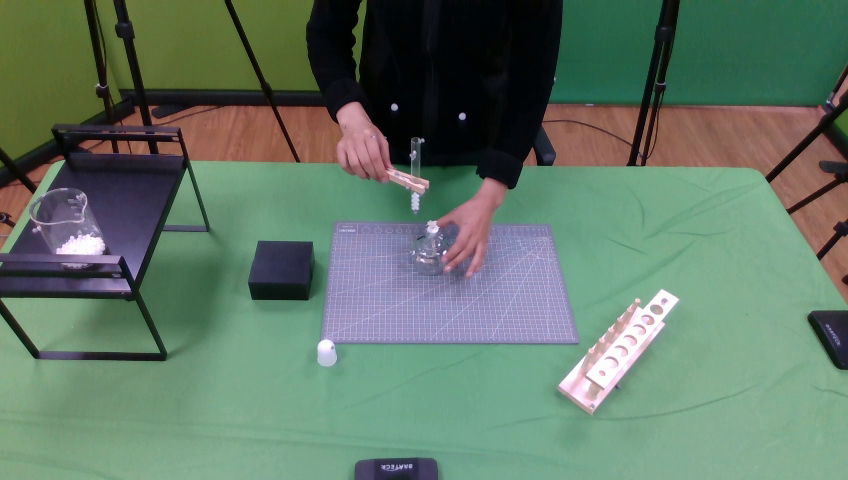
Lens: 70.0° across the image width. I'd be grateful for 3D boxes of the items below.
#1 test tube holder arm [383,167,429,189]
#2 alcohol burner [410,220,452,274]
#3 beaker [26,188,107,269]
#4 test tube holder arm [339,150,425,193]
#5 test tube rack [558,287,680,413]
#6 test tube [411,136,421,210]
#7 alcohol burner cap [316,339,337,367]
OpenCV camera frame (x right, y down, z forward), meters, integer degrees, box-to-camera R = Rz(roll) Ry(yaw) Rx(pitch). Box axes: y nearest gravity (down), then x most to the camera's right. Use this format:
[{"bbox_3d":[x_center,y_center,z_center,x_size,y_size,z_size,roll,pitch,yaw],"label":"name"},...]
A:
[{"bbox_3d":[-0.033,-0.108,1.044,0.087,0.015,0.010,19,44,15],"label":"test tube holder arm"},{"bbox_3d":[0.013,0.007,1.120,0.078,0.120,0.077,1,48,-1],"label":"alcohol burner"},{"bbox_3d":[-0.504,-0.013,0.868,0.084,0.101,0.074,23,49,17],"label":"beaker"},{"bbox_3d":[-0.075,-0.120,1.055,0.178,0.015,0.013,24,45,20],"label":"test tube holder arm"},{"bbox_3d":[0.326,0.170,1.009,0.066,0.085,0.242,36,54,27],"label":"test tube rack"},{"bbox_3d":[-0.014,-0.109,1.023,0.017,0.151,0.017,1,44,0],"label":"test tube"},{"bbox_3d":[-0.161,0.182,0.995,0.034,0.048,0.033,2,47,-1],"label":"alcohol burner cap"}]
